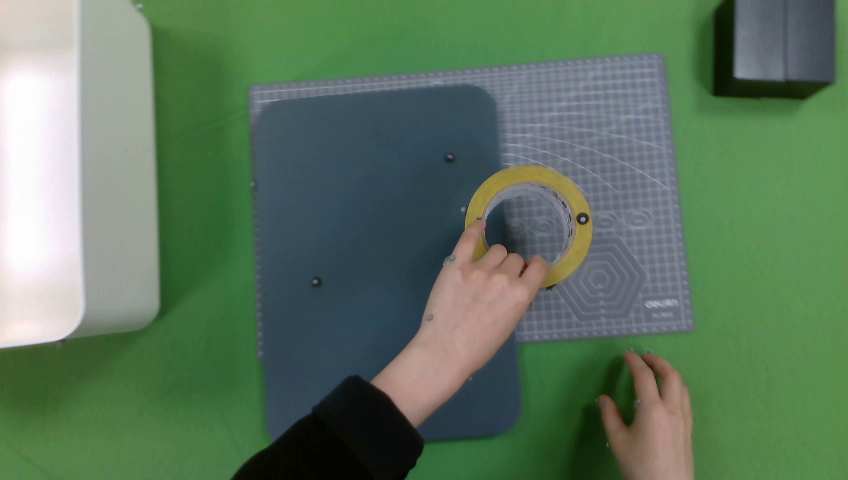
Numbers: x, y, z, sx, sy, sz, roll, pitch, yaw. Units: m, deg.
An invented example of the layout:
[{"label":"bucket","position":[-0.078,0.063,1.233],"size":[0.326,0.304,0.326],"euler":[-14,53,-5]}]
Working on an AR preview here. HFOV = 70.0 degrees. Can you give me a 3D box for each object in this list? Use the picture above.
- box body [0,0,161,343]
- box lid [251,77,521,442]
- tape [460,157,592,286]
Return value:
[{"label":"box body","position":[-0.410,-0.082,0.579],"size":[0.254,0.161,0.363],"euler":[-6,84,1]},{"label":"box lid","position":[-0.043,0.013,0.633],"size":[0.263,0.015,0.370],"euler":[-5,84,1]},{"label":"tape","position":[0.091,-0.014,0.548],"size":[0.117,0.053,0.116],"euler":[0,84,4]}]
